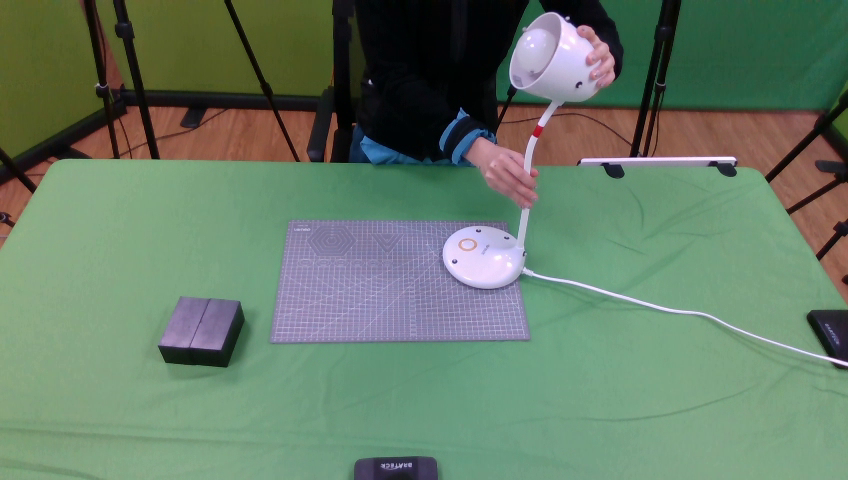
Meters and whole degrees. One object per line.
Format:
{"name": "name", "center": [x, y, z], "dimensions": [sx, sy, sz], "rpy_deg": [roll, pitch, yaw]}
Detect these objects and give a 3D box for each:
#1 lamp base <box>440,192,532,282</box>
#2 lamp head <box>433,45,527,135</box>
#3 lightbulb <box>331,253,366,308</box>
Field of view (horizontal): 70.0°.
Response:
{"name": "lamp base", "center": [0.127, -0.032, 1.123], "dimensions": [0.179, 0.181, 0.159], "rpy_deg": [10, 47, 2]}
{"name": "lamp head", "center": [0.094, -0.229, 0.906], "dimensions": [0.123, 0.113, 0.112], "rpy_deg": [-21, 39, 27]}
{"name": "lightbulb", "center": [-0.131, 0.074, 1.094], "dimensions": [0.059, 0.060, 0.107], "rpy_deg": [-15, 65, -18]}
